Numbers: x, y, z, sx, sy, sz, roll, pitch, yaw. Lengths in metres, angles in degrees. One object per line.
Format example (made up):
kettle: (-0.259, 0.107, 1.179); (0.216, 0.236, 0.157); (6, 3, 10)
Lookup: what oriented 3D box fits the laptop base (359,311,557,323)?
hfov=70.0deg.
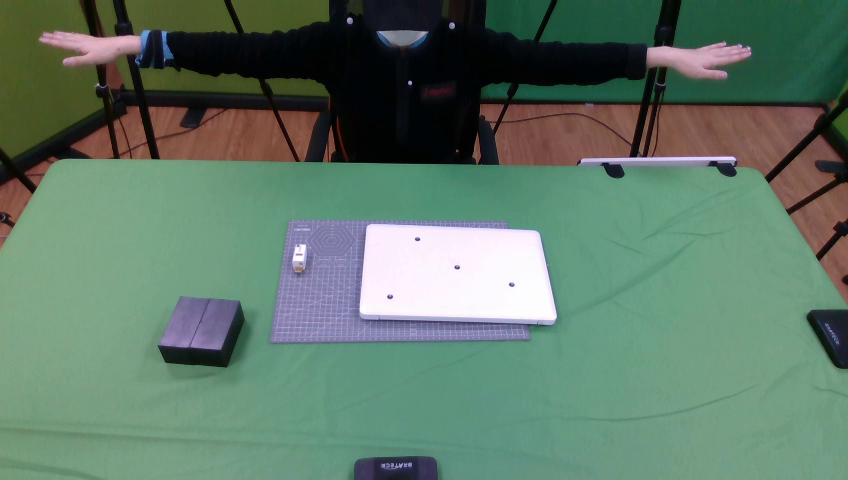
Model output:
laptop base: (0.061, 0.063, 1.145); (0.354, 0.023, 0.234); (2, 43, -3)

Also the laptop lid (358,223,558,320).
laptop lid: (0.061, 0.053, 1.138); (0.357, 0.013, 0.240); (3, 44, -2)

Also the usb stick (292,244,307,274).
usb stick: (-0.234, 0.036, 1.137); (0.021, 0.027, 0.059); (3, 49, -4)
